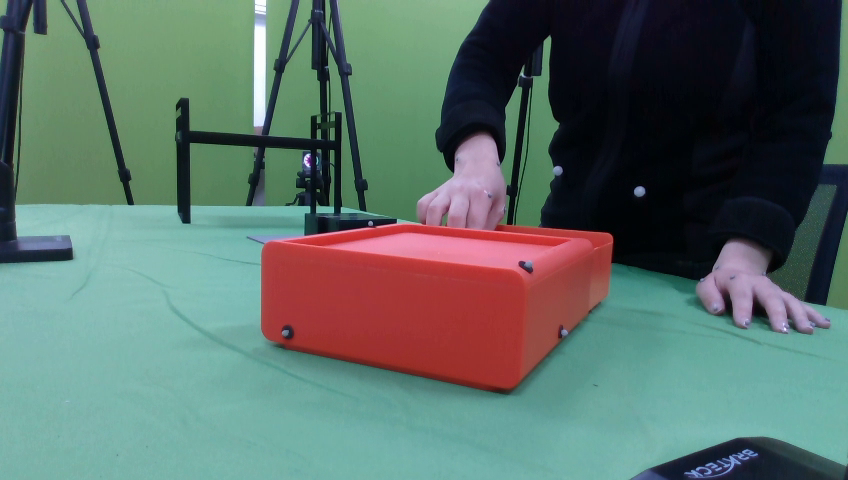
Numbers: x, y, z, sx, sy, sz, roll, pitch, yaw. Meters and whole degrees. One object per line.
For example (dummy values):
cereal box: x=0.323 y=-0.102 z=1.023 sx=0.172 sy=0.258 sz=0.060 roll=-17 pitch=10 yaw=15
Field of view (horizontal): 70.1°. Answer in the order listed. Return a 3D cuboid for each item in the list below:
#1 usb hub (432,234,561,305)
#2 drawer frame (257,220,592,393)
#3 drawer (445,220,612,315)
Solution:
usb hub: x=0.073 y=0.027 z=0.614 sx=0.124 sy=0.025 sz=0.050 roll=23 pitch=19 yaw=26
drawer frame: x=0.014 y=0.037 z=0.491 sx=0.201 sy=0.082 sz=0.214 roll=6 pitch=9 yaw=24
drawer: x=0.061 y=0.029 z=0.583 sx=0.194 sy=0.073 sz=0.212 roll=7 pitch=9 yaw=27
